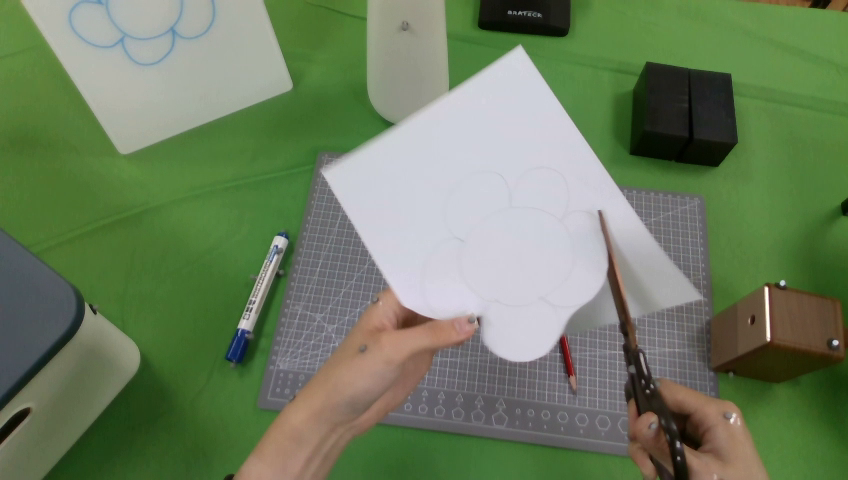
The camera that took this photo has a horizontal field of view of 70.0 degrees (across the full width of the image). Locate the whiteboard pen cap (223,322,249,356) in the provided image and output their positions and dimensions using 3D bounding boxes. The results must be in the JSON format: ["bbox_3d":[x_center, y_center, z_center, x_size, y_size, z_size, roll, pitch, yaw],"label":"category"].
[{"bbox_3d":[-0.186,0.097,0.605,0.018,0.018,0.033,13,61,5],"label":"whiteboard pen cap"}]

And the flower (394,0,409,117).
[{"bbox_3d":[-0.027,-0.271,0.587,0.044,0.365,0.038,0,48,3],"label":"flower"}]

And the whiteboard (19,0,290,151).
[{"bbox_3d":[-0.310,-0.292,0.656,0.217,0.308,0.142,-25,49,-12],"label":"whiteboard"}]

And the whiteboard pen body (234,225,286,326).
[{"bbox_3d":[-0.173,0.046,0.630,0.017,0.017,0.140,13,64,5],"label":"whiteboard pen body"}]

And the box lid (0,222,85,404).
[{"bbox_3d":[-0.477,0.045,0.462,0.370,0.015,0.262,32,68,12],"label":"box lid"}]

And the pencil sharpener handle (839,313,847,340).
[{"bbox_3d":[0.381,0.090,0.566,0.030,0.068,0.035,11,60,0],"label":"pencil sharpener handle"}]

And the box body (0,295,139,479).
[{"bbox_3d":[-0.477,0.077,0.530,0.362,0.161,0.253,32,69,12],"label":"box body"}]

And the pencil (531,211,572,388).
[{"bbox_3d":[0.135,0.058,0.637,0.012,0.012,0.192,-6,68,-4],"label":"pencil"}]

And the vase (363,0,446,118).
[{"bbox_3d":[-0.023,-0.223,0.657,0.098,0.201,0.097,0,64,0],"label":"vase"}]

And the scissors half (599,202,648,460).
[{"bbox_3d":[0.126,0.060,0.383,0.013,0.040,0.176,-13,107,5],"label":"scissors half"}]

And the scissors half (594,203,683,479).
[{"bbox_3d":[0.126,0.062,0.361,0.013,0.040,0.174,-14,84,0],"label":"scissors half"}]

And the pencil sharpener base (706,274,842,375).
[{"bbox_3d":[0.331,0.084,0.578,0.077,0.107,0.061,11,65,0],"label":"pencil sharpener base"}]
